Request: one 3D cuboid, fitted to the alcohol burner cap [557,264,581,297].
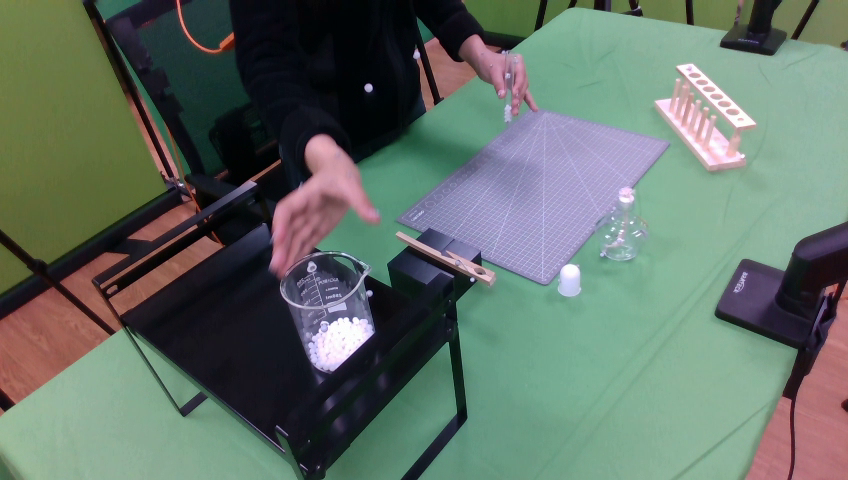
[{"bbox_3d":[0.208,0.055,0.866,0.034,0.048,0.033,-4,42,4],"label":"alcohol burner cap"}]

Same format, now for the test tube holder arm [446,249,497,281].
[{"bbox_3d":[0.064,0.035,0.850,0.087,0.015,0.010,24,63,32],"label":"test tube holder arm"}]

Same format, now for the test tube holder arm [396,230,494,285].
[{"bbox_3d":[0.026,0.023,0.872,0.177,0.015,0.013,25,63,32],"label":"test tube holder arm"}]

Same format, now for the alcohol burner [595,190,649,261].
[{"bbox_3d":[0.294,-0.028,0.894,0.078,0.119,0.077,-4,43,5],"label":"alcohol burner"}]

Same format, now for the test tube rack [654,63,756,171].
[{"bbox_3d":[0.510,-0.233,1.120,0.067,0.085,0.241,-8,41,-1],"label":"test tube rack"}]

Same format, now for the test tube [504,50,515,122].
[{"bbox_3d":[0.144,-0.256,1.021,0.017,0.151,0.017,-3,55,4],"label":"test tube"}]

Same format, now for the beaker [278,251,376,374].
[{"bbox_3d":[-0.084,0.070,0.569,0.084,0.101,0.073,-18,42,-13],"label":"beaker"}]
